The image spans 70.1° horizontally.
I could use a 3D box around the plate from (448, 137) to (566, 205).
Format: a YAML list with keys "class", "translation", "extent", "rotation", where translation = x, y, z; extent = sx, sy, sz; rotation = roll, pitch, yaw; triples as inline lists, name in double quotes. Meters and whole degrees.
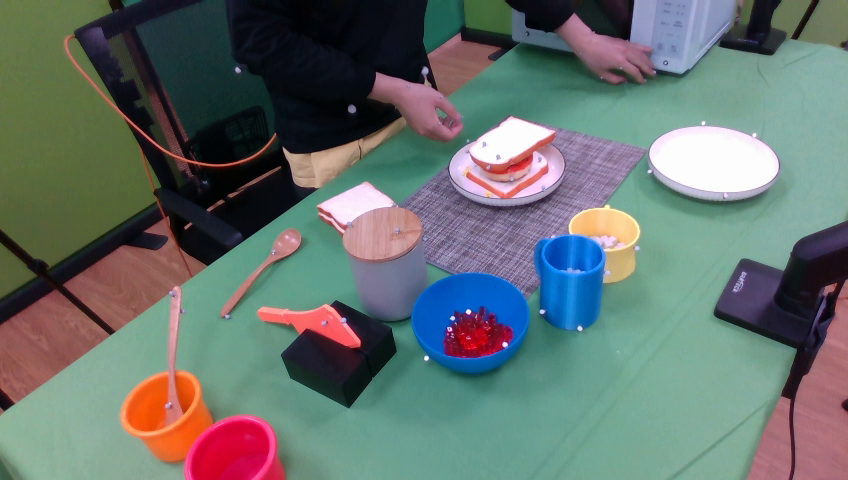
- class: "plate"
  translation: [0.147, -0.124, 1.075]
  extent: [0.209, 0.038, 0.208]
  rotation: [-4, 41, 4]

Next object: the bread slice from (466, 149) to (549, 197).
- class: "bread slice"
  translation: [0.156, -0.130, 1.082]
  extent: [0.132, 0.019, 0.104]
  rotation: [-32, 47, -26]

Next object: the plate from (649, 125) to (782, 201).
- class: "plate"
  translation: [0.493, -0.128, 1.036]
  extent: [0.207, 0.039, 0.206]
  rotation: [-4, 41, 4]

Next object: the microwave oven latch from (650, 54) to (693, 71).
- class: "microwave oven latch"
  translation: [0.531, -0.386, 1.301]
  extent: [0.078, 0.029, 0.030]
  rotation: [26, 51, 33]

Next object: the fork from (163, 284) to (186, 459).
- class: "fork"
  translation: [-0.303, 0.157, 0.733]
  extent: [0.028, 0.019, 0.207]
  rotation: [-3, 84, 12]

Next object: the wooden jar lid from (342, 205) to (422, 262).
- class: "wooden jar lid"
  translation: [-0.055, -0.006, 0.808]
  extent: [0.108, 0.021, 0.108]
  rotation: [-6, 41, 6]

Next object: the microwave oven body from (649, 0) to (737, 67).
- class: "microwave oven body"
  translation: [0.475, -0.602, 1.411]
  extent: [0.438, 0.261, 0.327]
  rotation: [23, 50, 32]

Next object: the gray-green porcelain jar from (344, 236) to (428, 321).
- class: "gray-green porcelain jar"
  translation: [-0.049, 0.042, 0.849]
  extent: [0.106, 0.127, 0.105]
  rotation: [-4, 41, 4]

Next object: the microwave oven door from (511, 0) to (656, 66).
- class: "microwave oven door"
  translation: [0.350, -0.539, 1.349]
  extent: [0.353, 0.245, 0.039]
  rotation: [24, 50, 31]

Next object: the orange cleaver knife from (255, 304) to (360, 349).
- class: "orange cleaver knife"
  translation: [-0.161, 0.115, 0.813]
  extent: [0.210, 0.077, 0.012]
  rotation: [-4, 32, 47]

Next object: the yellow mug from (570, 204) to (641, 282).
- class: "yellow mug"
  translation: [0.268, -0.005, 0.904]
  extent: [0.099, 0.064, 0.130]
  rotation: [7, 41, 15]

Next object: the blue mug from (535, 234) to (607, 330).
- class: "blue mug"
  translation: [0.191, 0.048, 0.824]
  extent: [0.082, 0.106, 0.115]
  rotation: [-26, 44, -20]

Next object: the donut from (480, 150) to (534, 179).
- class: "donut"
  translation: [0.143, -0.145, 1.058]
  extent: [0.099, 0.048, 0.098]
  rotation: [-3, 42, 3]

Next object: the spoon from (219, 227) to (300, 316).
- class: "spoon"
  translation: [-0.261, 0.046, 0.954]
  extent: [0.041, 0.021, 0.194]
  rotation: [27, 48, 11]

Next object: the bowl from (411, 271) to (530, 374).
- class: "bowl"
  translation: [0.061, 0.120, 0.780]
  extent: [0.151, 0.077, 0.150]
  rotation: [-4, 40, 4]

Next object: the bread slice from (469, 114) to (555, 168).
- class: "bread slice"
  translation: [0.145, -0.168, 1.036]
  extent: [0.134, 0.018, 0.106]
  rotation: [-38, 43, -24]
